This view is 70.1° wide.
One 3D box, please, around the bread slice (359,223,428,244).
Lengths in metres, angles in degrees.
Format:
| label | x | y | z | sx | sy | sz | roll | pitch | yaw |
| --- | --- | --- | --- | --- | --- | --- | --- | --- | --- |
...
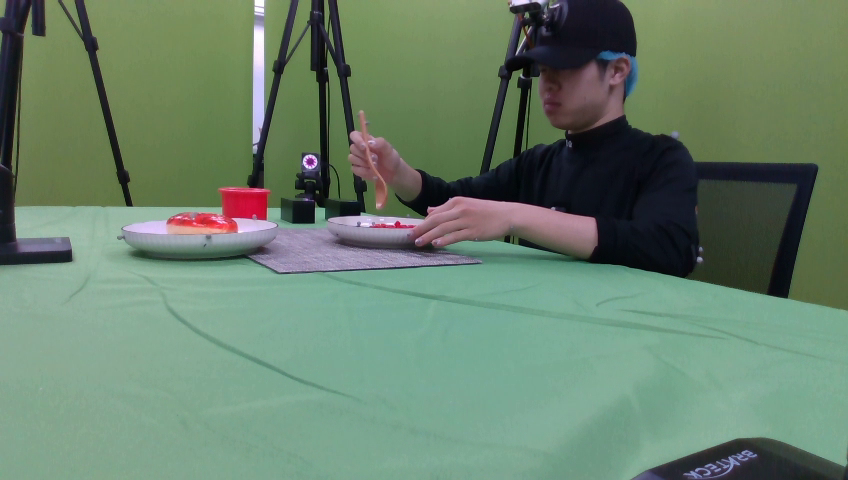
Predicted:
| label | x | y | z | sx | sy | sz | roll | pitch | yaw |
| --- | --- | --- | --- | --- | --- | --- | --- | --- | --- |
| bread slice | -0.062 | -0.012 | 1.035 | 0.105 | 0.019 | 0.131 | 0 | 10 | -19 |

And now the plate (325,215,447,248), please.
| label | x | y | z | sx | sy | sz | roll | pitch | yaw |
| --- | --- | --- | --- | --- | --- | --- | --- | --- | --- |
| plate | -0.065 | -0.015 | 1.034 | 0.209 | 0.038 | 0.209 | 3 | 7 | 0 |

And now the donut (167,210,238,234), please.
| label | x | y | z | sx | sy | sz | roll | pitch | yaw |
| --- | --- | --- | --- | --- | --- | --- | --- | --- | --- |
| donut | -0.321 | -0.017 | 0.882 | 0.099 | 0.048 | 0.099 | 3 | 6 | 0 |

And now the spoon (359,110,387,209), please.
| label | x | y | z | sx | sy | sz | roll | pitch | yaw |
| --- | --- | --- | --- | --- | --- | --- | --- | --- | --- |
| spoon | -0.093 | -0.145 | 1.059 | 0.022 | 0.193 | 0.041 | -6 | -17 | -31 |

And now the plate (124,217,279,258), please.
| label | x | y | z | sx | sy | sz | roll | pitch | yaw |
| --- | --- | --- | --- | --- | --- | --- | --- | --- | --- |
| plate | -0.315 | -0.004 | 0.871 | 0.208 | 0.039 | 0.207 | 1 | 8 | 0 |
